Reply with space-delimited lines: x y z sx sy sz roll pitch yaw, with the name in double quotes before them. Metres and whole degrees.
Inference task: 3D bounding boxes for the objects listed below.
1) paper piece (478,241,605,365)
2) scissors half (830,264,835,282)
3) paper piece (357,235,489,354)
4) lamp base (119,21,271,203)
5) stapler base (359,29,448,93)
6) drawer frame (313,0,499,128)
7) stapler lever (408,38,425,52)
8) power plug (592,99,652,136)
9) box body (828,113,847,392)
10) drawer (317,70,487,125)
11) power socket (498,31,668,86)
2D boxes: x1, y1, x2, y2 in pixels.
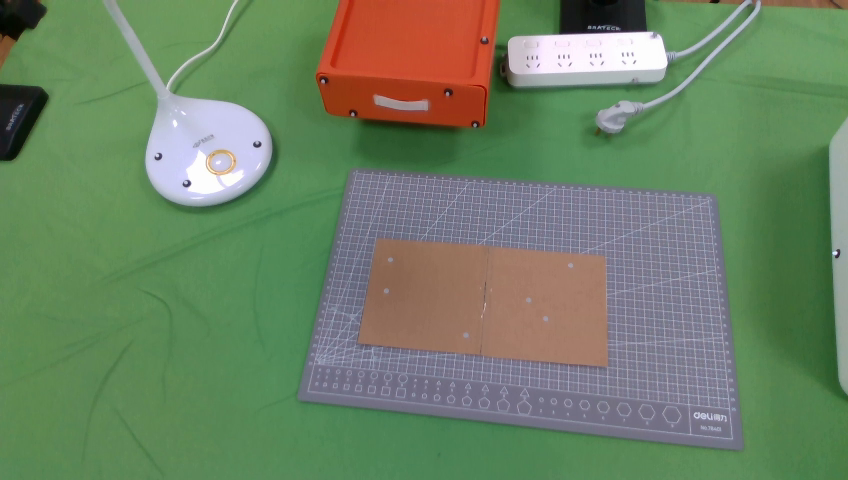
"paper piece" 0.132 0.066 0.671 0.135 0.004 0.134 6 63 6
"scissors half" 0.519 0.009 0.674 0.175 0.013 0.039 -22 64 -13
"paper piece" 0.001 0.057 0.684 0.136 0.009 0.137 4 63 9
"lamp base" -0.291 -0.160 0.719 0.178 0.182 0.160 36 69 23
"stapler base" -0.029 -0.233 0.771 0.129 0.024 0.041 34 85 22
"drawer frame" -0.013 -0.254 0.762 0.201 0.083 0.212 6 61 7
"stapler lever" -0.039 -0.240 0.747 0.117 0.040 0.027 34 85 24
"power plug" 0.250 -0.151 0.767 0.073 0.053 0.035 7 57 -15
"box body" 0.566 0.000 0.598 0.253 0.162 0.361 12 63 9
"drawer" -0.012 -0.252 0.760 0.194 0.074 0.210 6 62 7
"power socket" 0.216 -0.247 0.823 0.227 0.033 0.071 0 62 3
